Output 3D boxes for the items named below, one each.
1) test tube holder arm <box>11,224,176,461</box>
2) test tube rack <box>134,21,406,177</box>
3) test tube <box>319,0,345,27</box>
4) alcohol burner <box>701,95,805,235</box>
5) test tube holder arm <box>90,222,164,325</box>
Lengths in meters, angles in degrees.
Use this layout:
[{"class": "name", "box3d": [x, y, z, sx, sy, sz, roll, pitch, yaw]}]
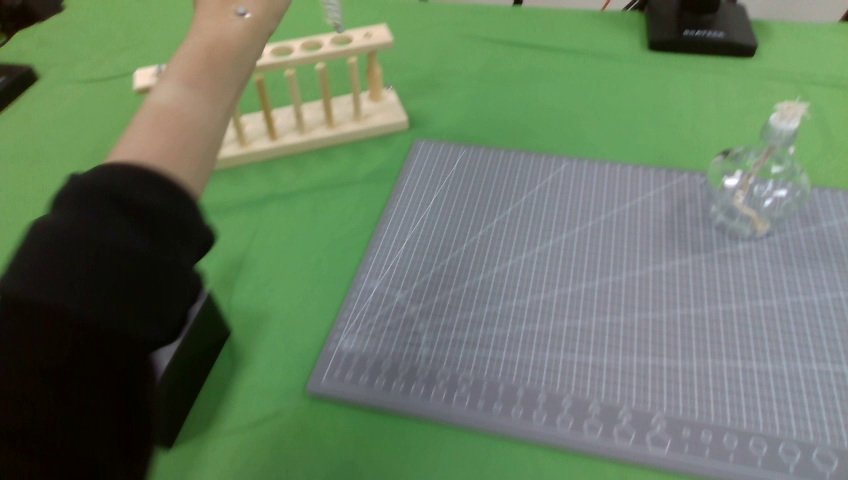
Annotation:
[{"class": "test tube holder arm", "box3d": [-0.210, 0.057, 0.399, 0.013, 0.015, 0.177, 10, 50, 4]}, {"class": "test tube rack", "box3d": [-0.145, -0.141, 0.598, 0.243, 0.086, 0.066, -14, 48, -10]}, {"class": "test tube", "box3d": [-0.070, -0.194, 0.372, 0.017, 0.151, 0.017, -2, 59, 5]}, {"class": "alcohol burner", "box3d": [0.267, -0.062, 0.481, 0.078, 0.120, 0.077, -1, 46, 1]}, {"class": "test tube holder arm", "box3d": [-0.207, 0.023, 0.428, 0.010, 0.015, 0.087, 11, 50, 5]}]
